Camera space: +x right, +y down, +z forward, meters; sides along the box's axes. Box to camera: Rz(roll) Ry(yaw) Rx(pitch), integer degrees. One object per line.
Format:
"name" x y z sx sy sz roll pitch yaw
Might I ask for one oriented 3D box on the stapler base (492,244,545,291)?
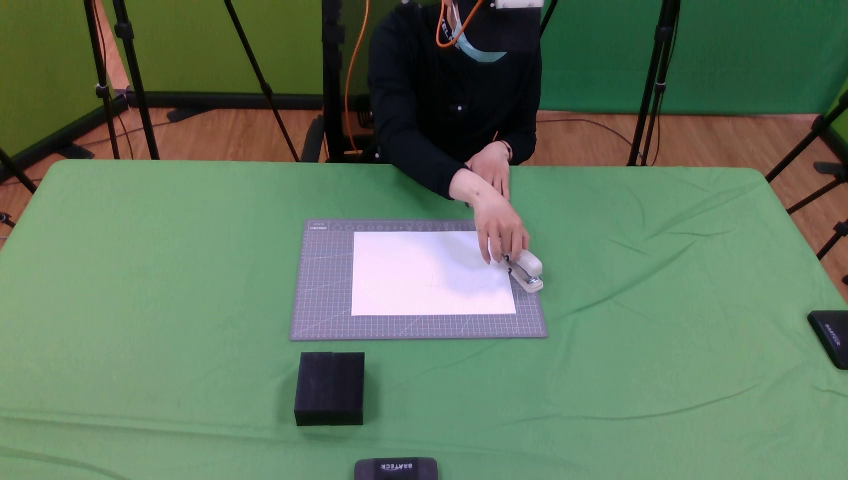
"stapler base" 0.183 0.044 1.159 0.041 0.024 0.129 -19 49 -24

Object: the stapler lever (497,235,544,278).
"stapler lever" 0.182 0.025 1.142 0.027 0.040 0.117 -19 48 -24
